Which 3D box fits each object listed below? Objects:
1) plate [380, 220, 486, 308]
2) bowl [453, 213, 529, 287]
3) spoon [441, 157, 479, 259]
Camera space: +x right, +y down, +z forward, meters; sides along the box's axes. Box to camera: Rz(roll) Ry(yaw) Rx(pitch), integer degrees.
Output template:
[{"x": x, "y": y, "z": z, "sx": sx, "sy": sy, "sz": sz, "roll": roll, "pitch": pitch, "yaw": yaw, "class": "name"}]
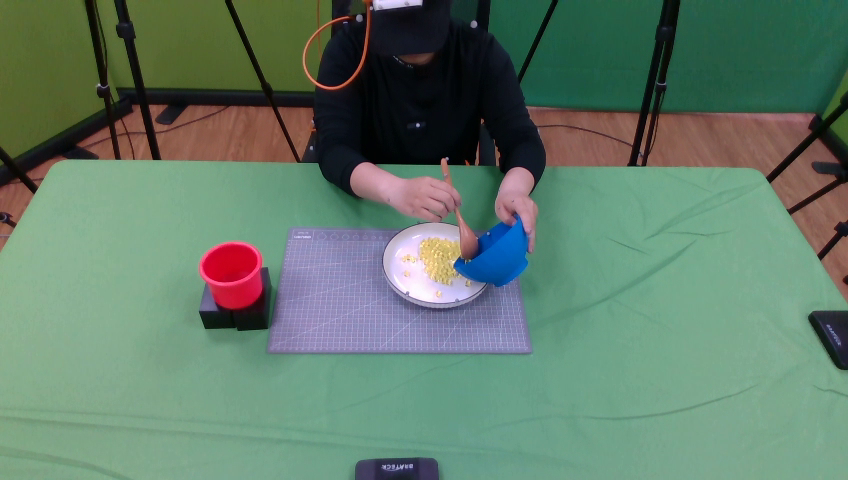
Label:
[{"x": 0.022, "y": 0.048, "z": 1.138, "sx": 0.208, "sy": 0.039, "sz": 0.206, "roll": 2, "pitch": 46, "yaw": -2, "class": "plate"}, {"x": 0.133, "y": 0.030, "z": 1.071, "sx": 0.077, "sy": 0.151, "sz": 0.151, "roll": 51, "pitch": 55, "yaw": -6, "class": "bowl"}, {"x": 0.060, "y": -0.057, "z": 1.098, "sx": 0.041, "sy": 0.194, "sz": 0.021, "roll": -24, "pitch": 10, "yaw": -25, "class": "spoon"}]
